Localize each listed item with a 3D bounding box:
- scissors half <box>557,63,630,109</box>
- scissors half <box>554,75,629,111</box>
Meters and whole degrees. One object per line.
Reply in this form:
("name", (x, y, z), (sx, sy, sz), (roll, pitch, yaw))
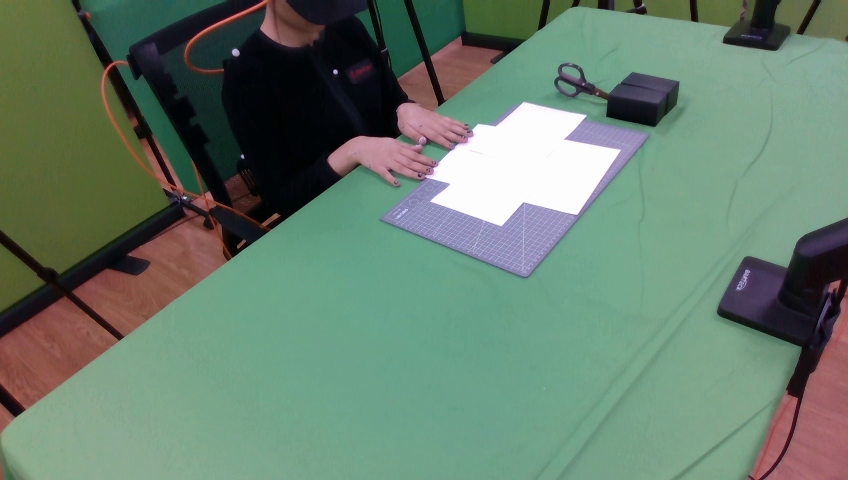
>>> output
("scissors half", (0.352, -0.318, 1.256), (0.174, 0.040, 0.013), (37, 56, 13))
("scissors half", (0.350, -0.305, 1.270), (0.174, 0.040, 0.013), (28, 48, 24))
